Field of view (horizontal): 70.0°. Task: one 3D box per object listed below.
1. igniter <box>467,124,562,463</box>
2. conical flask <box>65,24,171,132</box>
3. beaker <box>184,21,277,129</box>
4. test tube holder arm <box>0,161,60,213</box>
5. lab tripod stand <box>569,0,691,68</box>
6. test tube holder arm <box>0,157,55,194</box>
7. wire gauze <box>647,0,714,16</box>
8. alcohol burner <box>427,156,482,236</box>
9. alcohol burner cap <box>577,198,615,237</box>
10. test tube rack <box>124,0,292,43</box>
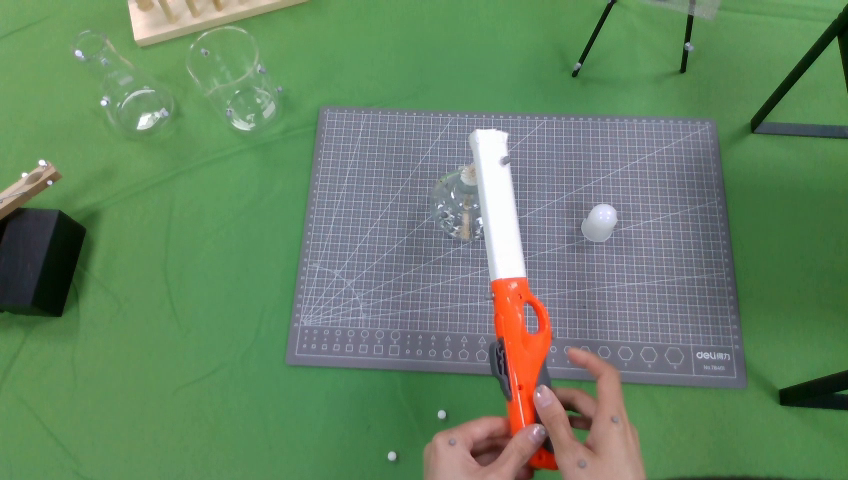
[{"bbox_3d":[0.071,0.039,0.489,0.057,0.025,0.275,-3,79,-23],"label":"igniter"},{"bbox_3d":[-0.333,-0.177,0.652,0.075,0.122,0.075,-1,70,2],"label":"conical flask"},{"bbox_3d":[-0.207,-0.172,0.659,0.074,0.101,0.083,17,72,8],"label":"beaker"},{"bbox_3d":[-0.411,-0.048,0.612,0.088,0.015,0.010,-39,74,-13],"label":"test tube holder arm"},{"bbox_3d":[0.233,-0.259,0.661,0.148,0.132,0.147,0,69,0],"label":"lab tripod stand"},{"bbox_3d":[-0.449,-0.023,0.603,0.178,0.015,0.013,-41,74,-13],"label":"test tube holder arm"},{"bbox_3d":[0.239,-0.283,0.598,0.121,0.011,0.124,23,73,8],"label":"wire gauze"},{"bbox_3d":[0.041,-0.049,0.598,0.078,0.120,0.077,0,69,0],"label":"alcohol burner"},{"bbox_3d":[0.180,-0.026,0.625,0.034,0.048,0.033,0,70,1],"label":"alcohol burner cap"},{"bbox_3d":[-0.248,-0.320,0.721,0.242,0.086,0.066,-18,70,-5],"label":"test tube rack"}]
